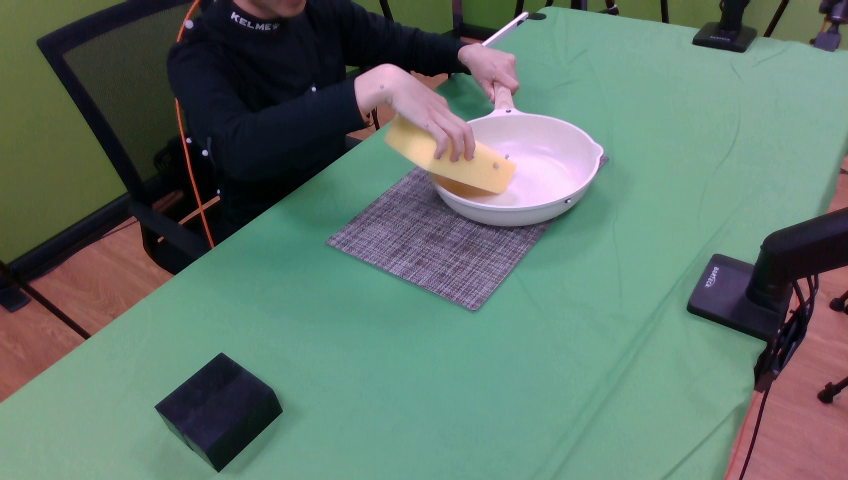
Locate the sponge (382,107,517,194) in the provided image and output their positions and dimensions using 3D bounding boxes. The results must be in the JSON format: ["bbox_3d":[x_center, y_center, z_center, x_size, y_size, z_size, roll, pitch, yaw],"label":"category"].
[{"bbox_3d":[0.046,-0.144,1.000,0.209,0.061,0.117,11,20,-49],"label":"sponge"}]

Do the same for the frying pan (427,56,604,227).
[{"bbox_3d":[0.155,-0.199,1.111,0.307,0.103,0.485,-2,49,5],"label":"frying pan"}]
